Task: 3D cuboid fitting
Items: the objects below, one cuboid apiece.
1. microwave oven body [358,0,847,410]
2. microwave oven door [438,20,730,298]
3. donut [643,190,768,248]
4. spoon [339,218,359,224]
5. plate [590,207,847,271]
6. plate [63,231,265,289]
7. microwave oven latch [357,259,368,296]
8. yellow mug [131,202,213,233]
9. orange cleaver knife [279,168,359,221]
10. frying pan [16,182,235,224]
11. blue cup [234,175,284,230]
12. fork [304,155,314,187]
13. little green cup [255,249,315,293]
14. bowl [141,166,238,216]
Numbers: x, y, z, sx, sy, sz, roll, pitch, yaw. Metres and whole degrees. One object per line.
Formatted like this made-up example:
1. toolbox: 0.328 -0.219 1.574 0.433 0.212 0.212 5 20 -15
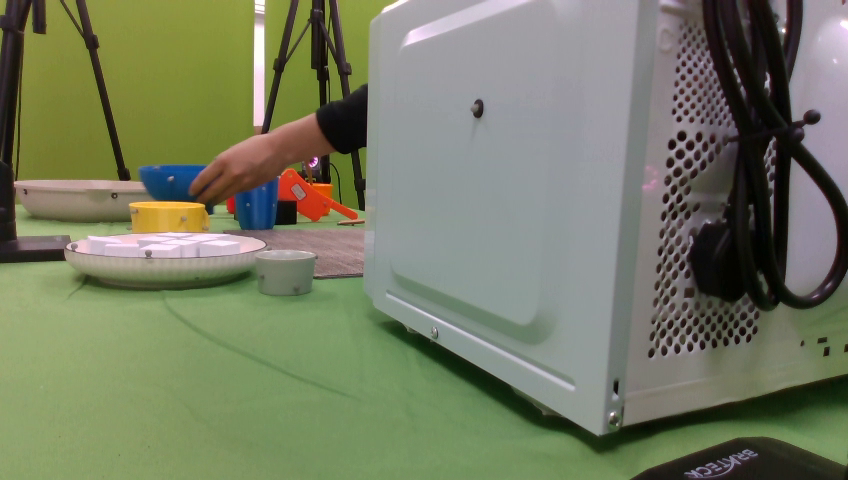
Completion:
1. microwave oven body: 0.210 -0.051 0.471 0.444 0.260 0.324 -1 7 -28
2. microwave oven door: 0.181 -0.076 0.618 0.358 0.243 0.039 -2 8 -28
3. donut: 0.239 -0.017 0.518 0.099 0.048 0.099 4 5 0
4. spoon: -0.087 -0.041 1.268 0.193 0.021 0.041 4 20 13
5. plate: 0.246 -0.003 0.510 0.209 0.038 0.209 3 5 0
6. plate: -0.288 0.021 0.687 0.208 0.039 0.207 2 8 0
7. microwave oven latch: -0.019 0.031 0.528 0.079 0.029 0.030 -1 7 -25
8. yellow mug: -0.355 -0.021 0.878 0.099 0.064 0.131 4 7 22
9. orange cleaver knife: -0.236 -0.084 1.332 0.212 0.077 0.012 31 -9 -31
10. frying pan: -0.553 -0.097 1.265 0.490 0.102 0.305 -10 13 -24
11. blue cup: -0.314 -0.071 1.141 0.093 0.100 0.092 0 7 0
12. fork: -0.268 -0.134 1.446 0.028 0.018 0.207 1 -36 -1
13. little green cup: -0.144 0.032 0.627 0.061 0.038 0.061 2 6 0
14. bowl: -0.387 -0.081 1.009 0.151 0.077 0.151 1 11 0
